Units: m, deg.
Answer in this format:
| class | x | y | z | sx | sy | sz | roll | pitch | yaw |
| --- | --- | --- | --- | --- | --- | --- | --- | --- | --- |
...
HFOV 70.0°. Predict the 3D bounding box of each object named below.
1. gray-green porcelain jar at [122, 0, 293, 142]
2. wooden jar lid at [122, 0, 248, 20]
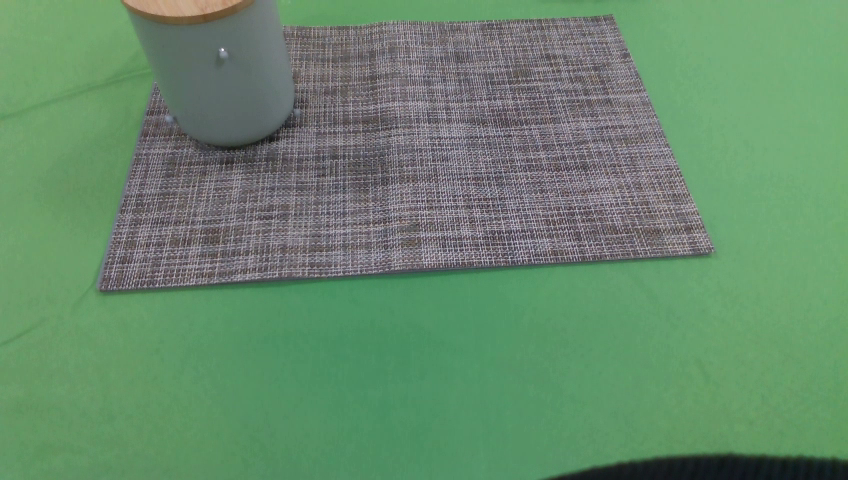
| class | x | y | z | sx | sy | sz | roll | pitch | yaw |
| --- | --- | --- | --- | --- | --- | --- | --- | --- | --- |
| gray-green porcelain jar | -0.164 | -0.150 | 0.480 | 0.106 | 0.127 | 0.105 | 1 | 54 | 0 |
| wooden jar lid | -0.164 | -0.188 | 0.430 | 0.108 | 0.021 | 0.107 | 1 | 57 | -1 |
